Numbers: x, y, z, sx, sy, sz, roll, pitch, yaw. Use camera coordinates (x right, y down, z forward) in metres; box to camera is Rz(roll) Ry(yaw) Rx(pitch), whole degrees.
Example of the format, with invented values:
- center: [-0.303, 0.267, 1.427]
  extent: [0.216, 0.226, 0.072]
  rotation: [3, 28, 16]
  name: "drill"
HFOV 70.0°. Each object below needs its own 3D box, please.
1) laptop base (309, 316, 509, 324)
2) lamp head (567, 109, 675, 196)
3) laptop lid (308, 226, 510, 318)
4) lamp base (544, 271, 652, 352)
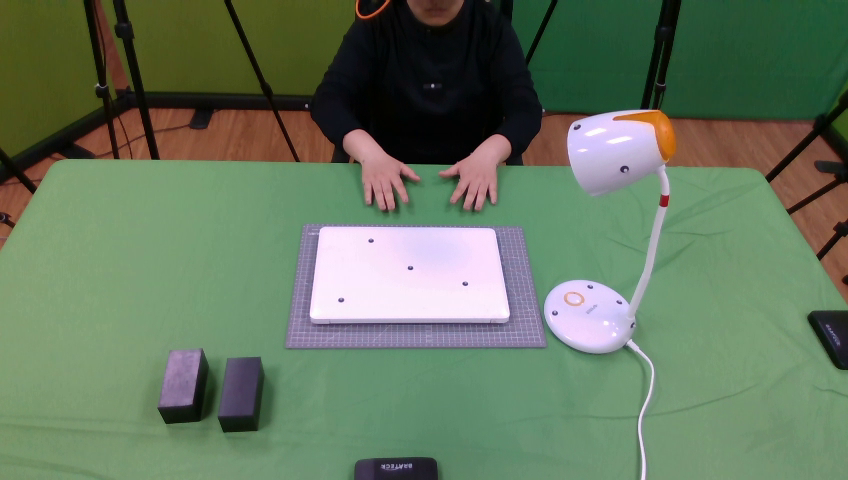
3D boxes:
- center: [-0.028, 0.064, 1.136]
  extent: [0.355, 0.023, 0.234]
  rotation: [0, 43, -4]
  name: "laptop base"
- center: [0.272, -0.123, 0.818]
  extent: [0.122, 0.113, 0.112]
  rotation: [-9, 35, 37]
  name: "lamp head"
- center: [-0.028, 0.054, 1.129]
  extent: [0.357, 0.013, 0.240]
  rotation: [2, 44, -3]
  name: "laptop lid"
- center: [0.310, 0.086, 1.029]
  extent: [0.178, 0.181, 0.160]
  rotation: [32, 52, 21]
  name: "lamp base"
